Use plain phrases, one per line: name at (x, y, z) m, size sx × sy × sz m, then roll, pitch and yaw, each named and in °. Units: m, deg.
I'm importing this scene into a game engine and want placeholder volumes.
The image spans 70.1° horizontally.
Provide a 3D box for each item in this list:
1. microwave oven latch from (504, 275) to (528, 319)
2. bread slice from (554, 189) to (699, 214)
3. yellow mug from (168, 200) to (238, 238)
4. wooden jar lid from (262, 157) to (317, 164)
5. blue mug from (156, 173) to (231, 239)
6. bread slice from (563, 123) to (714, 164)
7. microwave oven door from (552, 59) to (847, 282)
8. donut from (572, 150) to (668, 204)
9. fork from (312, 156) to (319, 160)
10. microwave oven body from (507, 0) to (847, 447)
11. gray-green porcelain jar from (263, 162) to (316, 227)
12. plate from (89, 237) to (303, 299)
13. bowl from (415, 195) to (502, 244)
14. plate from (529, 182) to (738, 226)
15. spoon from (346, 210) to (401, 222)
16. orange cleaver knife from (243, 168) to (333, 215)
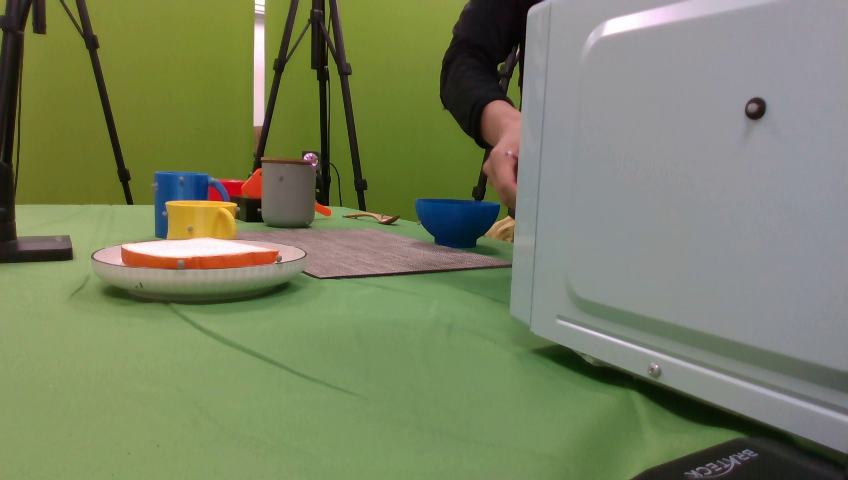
microwave oven latch at (0.100, 0.042, 0.471) m, size 0.079 × 0.029 × 0.030 m, roll -1°, pitch 7°, yaw -27°
bread slice at (0.219, -0.042, 0.646) m, size 0.132 × 0.019 × 0.104 m, roll -5°, pitch 7°, yaw -15°
yellow mug at (-0.320, -0.023, 0.904) m, size 0.130 × 0.064 × 0.100 m, roll 9°, pitch 10°, yaw 36°
wooden jar lid at (-0.269, -0.154, 1.208) m, size 0.108 × 0.020 × 0.108 m, roll 3°, pitch 4°, yaw 0°
blue mug at (-0.381, -0.057, 1.004) m, size 0.117 × 0.106 × 0.082 m, roll 0°, pitch 8°, yaw -12°
bread slice at (0.215, -0.099, 0.630) m, size 0.135 × 0.018 × 0.106 m, roll -11°, pitch 4°, yaw -21°
microwave oven door at (0.328, -0.092, 0.781) m, size 0.039 × 0.243 × 0.354 m, roll -5°, pitch 10°, yaw -42°
donut at (0.206, -0.067, 0.639) m, size 0.099 × 0.048 × 0.099 m, roll -12°, pitch 8°, yaw 2°
fork at (-0.331, -0.144, 1.506) m, size 0.207 × 0.018 × 0.028 m, roll -42°, pitch -19°, yaw 22°
microwave oven body at (0.331, -0.042, 0.426) m, size 0.444 × 0.260 × 0.324 m, roll -2°, pitch 8°, yaw -31°
gray-green porcelain jar at (-0.271, -0.092, 1.217) m, size 0.106 × 0.126 × 0.106 m, roll 2°, pitch 7°, yaw 0°
plate at (-0.233, 0.029, 0.637) m, size 0.208 × 0.039 × 0.207 m, roll 2°, pitch 7°, yaw 0°
bowl at (0.059, -0.035, 1.049) m, size 0.151 × 0.077 × 0.151 m, roll 2°, pitch 7°, yaw 0°
plate at (0.215, -0.040, 0.639) m, size 0.209 × 0.038 × 0.209 m, roll 0°, pitch 7°, yaw 0°
spoon at (-0.121, -0.060, 1.400) m, size 0.042 × 0.021 × 0.192 m, roll -27°, pitch 24°, yaw -38°
orange cleaver knife at (-0.300, -0.089, 1.352) m, size 0.212 × 0.077 × 0.012 m, roll 29°, pitch -8°, yaw -34°
